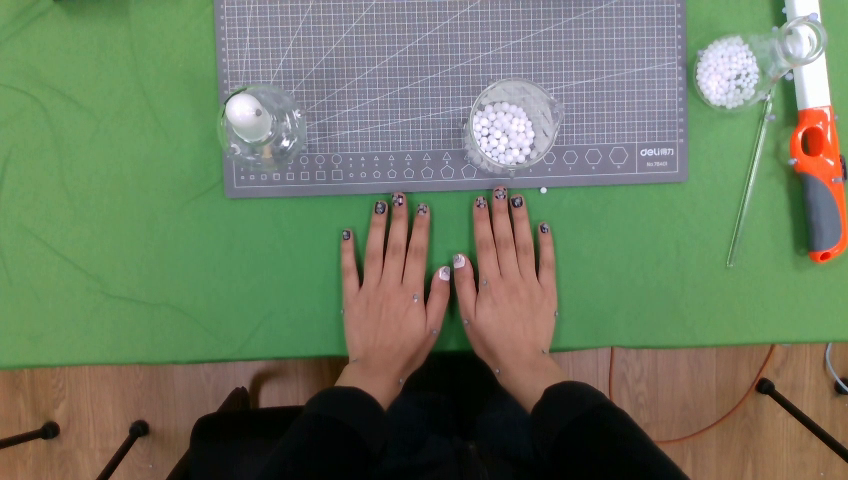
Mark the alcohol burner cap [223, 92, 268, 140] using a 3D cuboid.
[{"bbox_3d":[-0.146,-0.103,0.491,0.034,0.048,0.034,1,85,-7],"label":"alcohol burner cap"}]

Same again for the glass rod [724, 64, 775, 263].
[{"bbox_3d":[0.320,-0.075,0.597,0.008,0.008,0.199,12,92,-2],"label":"glass rod"}]

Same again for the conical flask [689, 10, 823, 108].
[{"bbox_3d":[0.295,-0.163,0.535,0.075,0.121,0.075,0,93,-1],"label":"conical flask"}]

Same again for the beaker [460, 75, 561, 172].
[{"bbox_3d":[0.072,-0.100,0.541,0.084,0.100,0.074,-21,93,-1],"label":"beaker"}]

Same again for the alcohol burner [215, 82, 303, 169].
[{"bbox_3d":[-0.147,-0.103,0.527,0.078,0.119,0.078,0,91,-3],"label":"alcohol burner"}]

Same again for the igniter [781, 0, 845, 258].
[{"bbox_3d":[0.374,-0.121,0.586,0.057,0.025,0.276,-9,94,-12],"label":"igniter"}]
